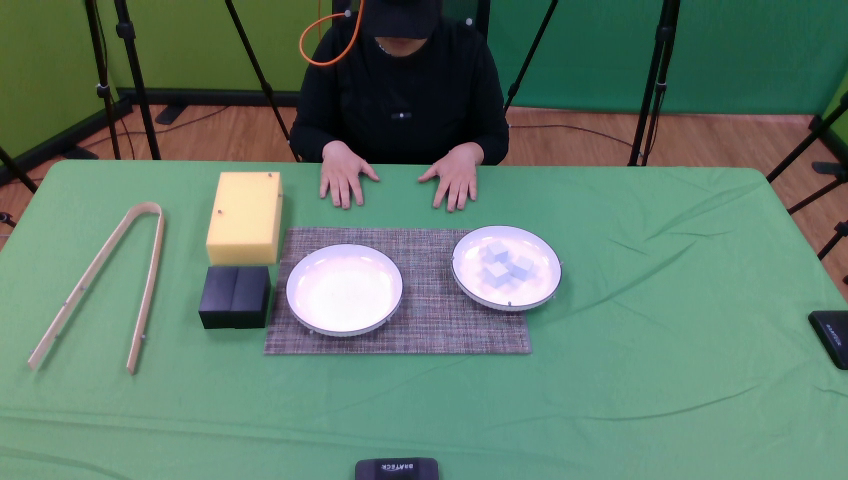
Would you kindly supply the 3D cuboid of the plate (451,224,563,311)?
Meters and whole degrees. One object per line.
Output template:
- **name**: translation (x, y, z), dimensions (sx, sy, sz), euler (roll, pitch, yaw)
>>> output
- **plate**: translation (0.154, 0.054, 1.140), dimensions (0.209, 0.038, 0.208), euler (2, 47, -2)

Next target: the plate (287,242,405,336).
- **plate**: translation (-0.138, 0.090, 1.085), dimensions (0.208, 0.039, 0.206), euler (2, 46, -2)

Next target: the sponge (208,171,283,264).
- **sponge**: translation (-0.345, -0.048, 1.191), dimensions (0.118, 0.061, 0.205), euler (-2, 46, -7)

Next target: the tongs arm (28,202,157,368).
- **tongs arm**: translation (-0.578, 0.064, 1.084), dimensions (0.051, 0.026, 0.382), euler (6, 45, 1)

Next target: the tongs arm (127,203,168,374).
- **tongs arm**: translation (-0.496, 0.070, 1.090), dimensions (0.028, 0.028, 0.385), euler (-6, 47, -6)
